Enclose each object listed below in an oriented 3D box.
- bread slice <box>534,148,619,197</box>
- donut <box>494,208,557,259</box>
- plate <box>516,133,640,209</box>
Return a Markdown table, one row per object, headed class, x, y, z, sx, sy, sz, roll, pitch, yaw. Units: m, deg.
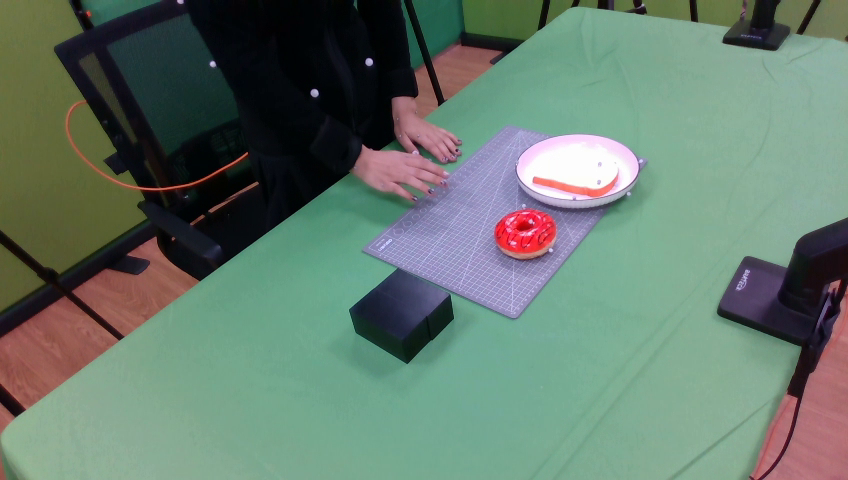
| class | x | y | z | sx | sy | sz | roll | pitch | yaw |
| --- | --- | --- | --- | --- | --- | --- | --- | --- | --- |
| bread slice | 0.274 | -0.119 | 1.057 | 0.130 | 0.019 | 0.105 | 19 | 48 | 30 |
| donut | 0.159 | -0.011 | 0.945 | 0.099 | 0.048 | 0.098 | -6 | 41 | 6 |
| plate | 0.266 | -0.117 | 1.054 | 0.209 | 0.038 | 0.208 | -5 | 40 | 5 |
